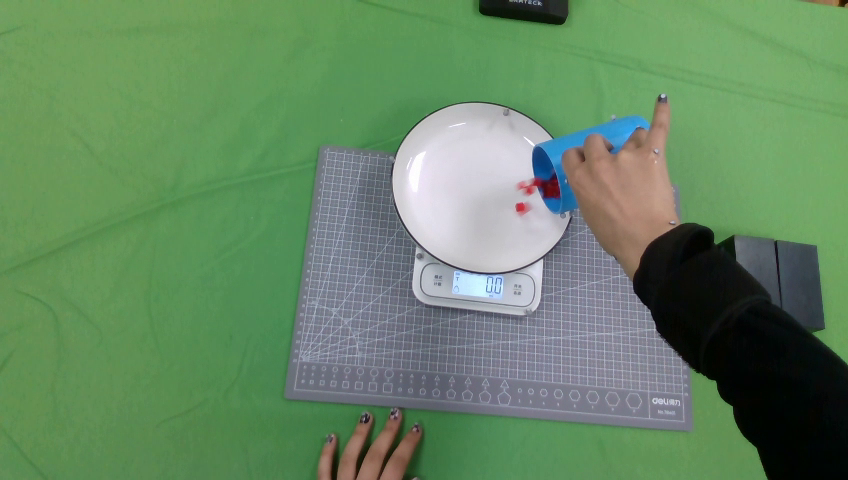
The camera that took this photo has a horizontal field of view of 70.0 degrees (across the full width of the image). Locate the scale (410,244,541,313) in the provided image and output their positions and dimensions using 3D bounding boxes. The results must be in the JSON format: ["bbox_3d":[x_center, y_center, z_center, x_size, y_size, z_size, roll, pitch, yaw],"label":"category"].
[{"bbox_3d":[0.066,-0.021,0.707,0.149,0.032,0.199,7,72,-4],"label":"scale"}]

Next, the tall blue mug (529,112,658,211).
[{"bbox_3d":[0.174,-0.088,0.616,0.108,0.108,0.077,-17,64,-5],"label":"tall blue mug"}]

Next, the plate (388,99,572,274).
[{"bbox_3d":[0.063,-0.058,0.683,0.209,0.038,0.208,2,72,-7],"label":"plate"}]
